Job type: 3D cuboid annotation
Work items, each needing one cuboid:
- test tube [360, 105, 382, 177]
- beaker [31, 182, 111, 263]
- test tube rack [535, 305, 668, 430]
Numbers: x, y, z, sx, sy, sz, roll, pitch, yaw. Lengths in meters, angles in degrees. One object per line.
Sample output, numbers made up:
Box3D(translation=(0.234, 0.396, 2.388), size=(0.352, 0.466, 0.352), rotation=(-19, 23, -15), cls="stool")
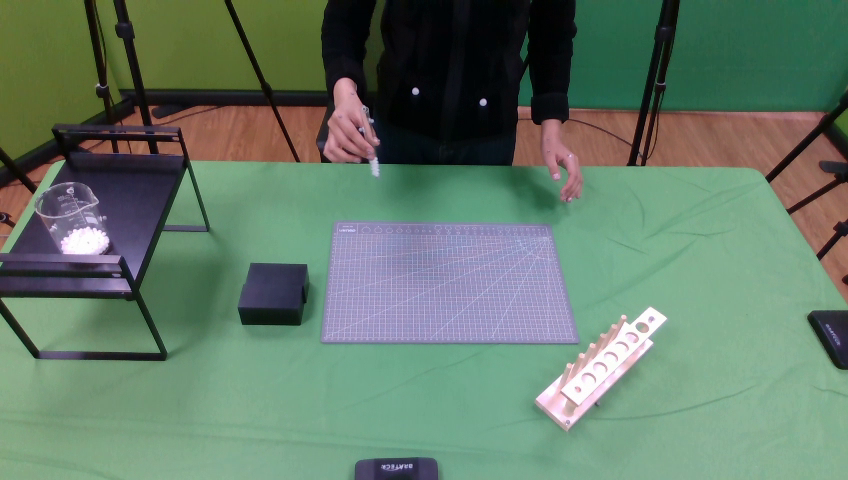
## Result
Box3D(translation=(-0.091, -0.167, 1.041), size=(0.017, 0.151, 0.017), rotation=(-4, 48, 4), cls="test tube")
Box3D(translation=(-0.502, -0.022, 0.877), size=(0.084, 0.101, 0.073), rotation=(-2, 47, -7), cls="beaker")
Box3D(translation=(0.290, 0.193, 0.984), size=(0.242, 0.085, 0.066), rotation=(-32, 57, -30), cls="test tube rack")
